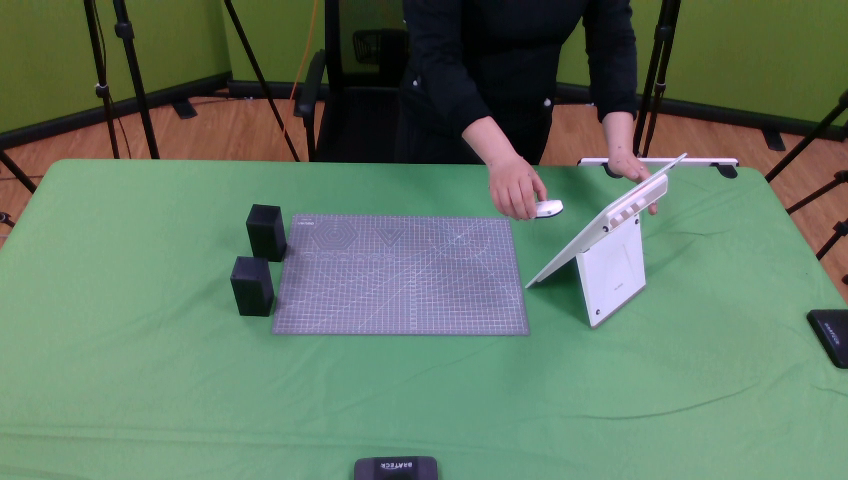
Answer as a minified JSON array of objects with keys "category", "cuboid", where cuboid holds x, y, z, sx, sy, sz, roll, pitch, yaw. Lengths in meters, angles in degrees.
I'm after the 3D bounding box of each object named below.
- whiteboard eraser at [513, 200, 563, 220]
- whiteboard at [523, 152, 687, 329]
[{"category":"whiteboard eraser","cuboid":[0.202,-0.055,1.076,0.041,0.019,0.101,-38,21,-32]},{"category":"whiteboard","cuboid":[0.346,0.025,1.046,0.217,0.306,0.143,-30,74,-29]}]
